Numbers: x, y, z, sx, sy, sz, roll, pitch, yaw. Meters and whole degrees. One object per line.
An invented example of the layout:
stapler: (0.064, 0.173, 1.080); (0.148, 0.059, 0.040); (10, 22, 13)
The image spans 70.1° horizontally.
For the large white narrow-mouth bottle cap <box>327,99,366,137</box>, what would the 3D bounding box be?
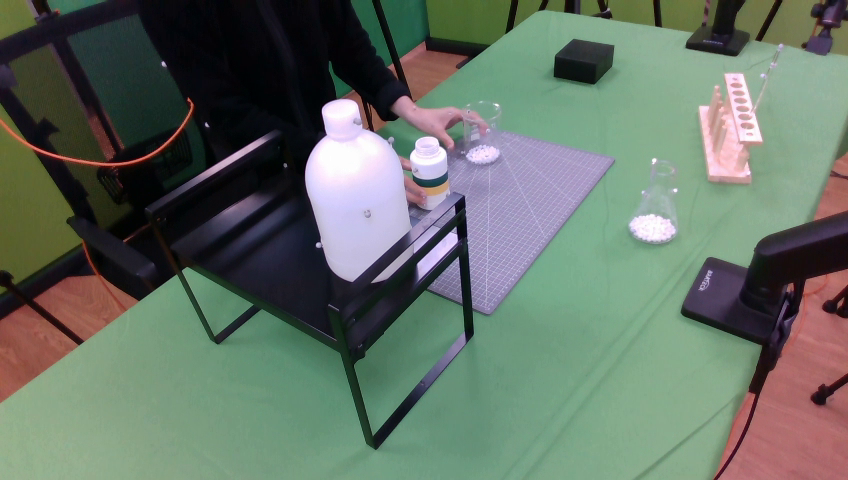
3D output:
large white narrow-mouth bottle cap: (-0.075, -0.117, 0.582); (0.038, 0.024, 0.037); (-3, 40, 3)

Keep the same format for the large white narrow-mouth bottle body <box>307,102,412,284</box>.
large white narrow-mouth bottle body: (-0.070, -0.051, 0.638); (0.102, 0.195, 0.101); (-3, 40, 3)

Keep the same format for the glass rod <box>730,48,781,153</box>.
glass rod: (0.554, -0.228, 1.015); (0.008, 0.200, 0.008); (1, 44, -1)

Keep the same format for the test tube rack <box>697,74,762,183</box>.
test tube rack: (0.547, -0.208, 1.095); (0.066, 0.085, 0.242); (5, 42, 15)

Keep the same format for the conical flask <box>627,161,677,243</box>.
conical flask: (0.355, -0.061, 0.921); (0.075, 0.122, 0.075); (-4, 41, 4)

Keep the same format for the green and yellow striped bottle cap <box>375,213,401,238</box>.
green and yellow striped bottle cap: (-0.061, -0.025, 1.016); (0.045, 0.020, 0.045); (-2, 42, 2)

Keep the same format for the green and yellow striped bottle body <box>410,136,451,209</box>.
green and yellow striped bottle body: (0.011, -0.117, 1.032); (0.063, 0.120, 0.063); (-4, 40, 4)

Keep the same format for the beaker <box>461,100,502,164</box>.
beaker: (0.111, -0.200, 1.132); (0.084, 0.100, 0.073); (-27, 45, -22)
